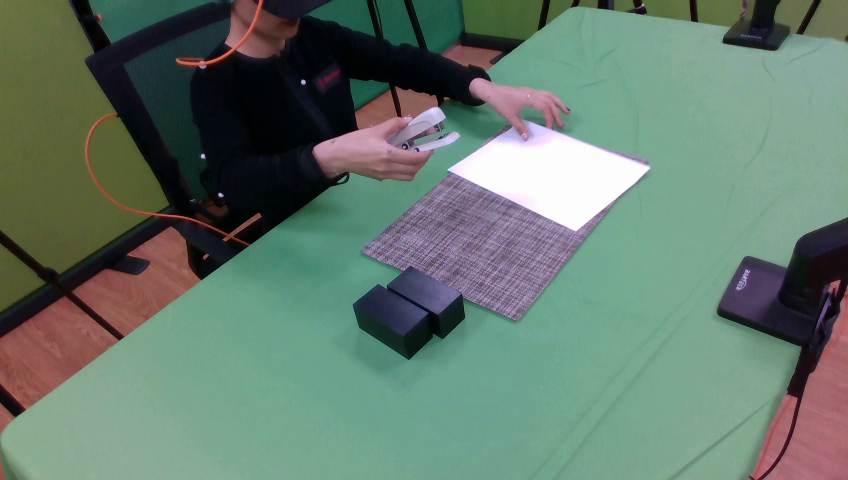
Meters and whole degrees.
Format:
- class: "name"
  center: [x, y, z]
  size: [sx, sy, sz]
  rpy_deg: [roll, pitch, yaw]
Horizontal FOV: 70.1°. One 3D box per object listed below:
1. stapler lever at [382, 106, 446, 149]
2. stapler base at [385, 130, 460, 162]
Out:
- class: "stapler lever"
  center: [-0.017, -0.174, 0.938]
  size: [0.117, 0.040, 0.027]
  rpy_deg: [-12, 20, 34]
- class: "stapler base"
  center: [-0.006, -0.153, 0.945]
  size: [0.130, 0.024, 0.041]
  rpy_deg: [-12, 19, 34]
